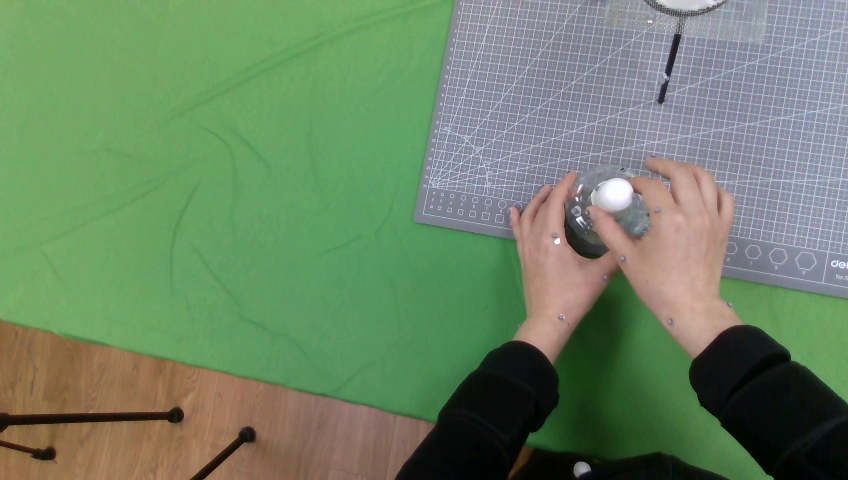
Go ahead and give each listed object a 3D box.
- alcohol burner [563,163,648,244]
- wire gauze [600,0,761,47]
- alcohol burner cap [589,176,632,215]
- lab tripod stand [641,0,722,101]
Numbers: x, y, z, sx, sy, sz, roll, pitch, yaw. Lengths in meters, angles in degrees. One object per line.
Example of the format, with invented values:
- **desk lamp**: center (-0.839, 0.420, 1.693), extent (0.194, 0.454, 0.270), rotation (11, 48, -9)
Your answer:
- **alcohol burner**: center (0.168, -0.035, 0.556), extent (0.078, 0.119, 0.077), rotation (-1, 85, 10)
- **wire gauze**: center (0.210, -0.222, 0.483), extent (0.125, 0.011, 0.121), rotation (10, 92, 9)
- **alcohol burner cap**: center (0.161, -0.040, 0.519), extent (0.034, 0.048, 0.034), rotation (0, 86, 7)
- **lab tripod stand**: center (0.224, -0.216, 0.547), extent (0.148, 0.132, 0.148), rotation (-1, 87, 10)
